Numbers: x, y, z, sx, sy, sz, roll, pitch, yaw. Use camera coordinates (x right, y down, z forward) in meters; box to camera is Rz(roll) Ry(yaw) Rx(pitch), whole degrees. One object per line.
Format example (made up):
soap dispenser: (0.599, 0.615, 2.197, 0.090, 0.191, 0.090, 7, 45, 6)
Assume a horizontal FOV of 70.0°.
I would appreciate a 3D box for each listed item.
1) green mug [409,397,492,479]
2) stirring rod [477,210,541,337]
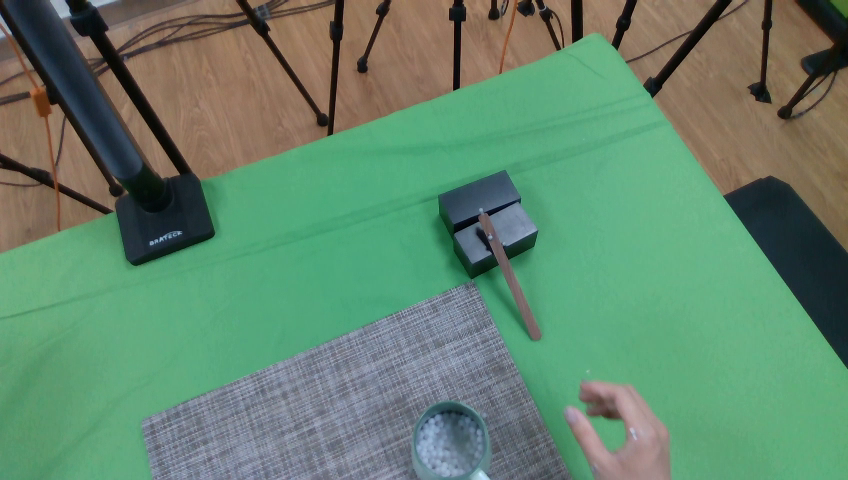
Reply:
green mug: (0.039, 0.235, 0.663, 0.092, 0.106, 0.124, -38, 69, -15)
stirring rod: (0.108, 0.042, 0.770, 0.014, 0.006, 0.176, -25, 90, 3)
